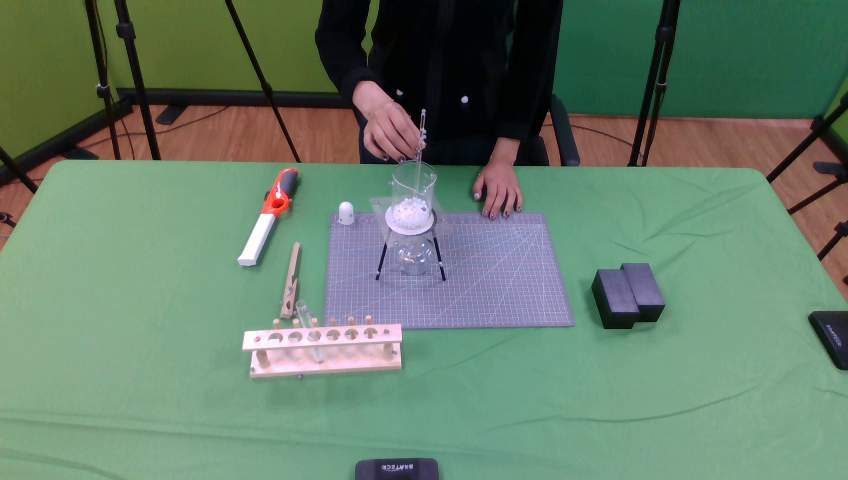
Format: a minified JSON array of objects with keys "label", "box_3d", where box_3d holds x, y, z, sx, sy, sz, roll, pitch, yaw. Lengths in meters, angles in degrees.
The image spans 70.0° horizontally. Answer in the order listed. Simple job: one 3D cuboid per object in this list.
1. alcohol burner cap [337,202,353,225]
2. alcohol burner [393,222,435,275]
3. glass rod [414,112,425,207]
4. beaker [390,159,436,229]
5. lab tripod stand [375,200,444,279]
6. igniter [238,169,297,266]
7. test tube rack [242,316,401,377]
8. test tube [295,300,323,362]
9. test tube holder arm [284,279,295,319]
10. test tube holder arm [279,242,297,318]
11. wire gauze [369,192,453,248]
[{"label":"alcohol burner cap","box_3d":[-0.161,-0.056,1.223,0.034,0.048,0.033,2,46,-2]},{"label":"alcohol burner","box_3d":[-0.018,0.009,1.123,0.078,0.119,0.077,3,47,-3]},{"label":"glass rod","box_3d":[-0.007,-0.128,1.005,0.008,0.200,0.008,3,46,-3]},{"label":"beaker","box_3d":[-0.020,-0.073,1.029,0.074,0.101,0.083,-10,48,-16]},{"label":"lab tripod stand","box_3d":[-0.023,0.004,1.114,0.148,0.132,0.147,4,45,-3]},{"label":"igniter","box_3d":[-0.313,-0.054,1.224,0.057,0.025,0.275,1,45,10]},{"label":"test tube rack","box_3d":[-0.160,0.166,0.983,0.242,0.085,0.066,-2,46,-6]},{"label":"test tube","box_3d":[-0.176,0.143,0.935,0.017,0.151,0.017,-2,46,2]},{"label":"test tube holder arm","box_3d":[-0.241,0.103,1.085,0.010,0.015,0.087,26,38,-26]},{"label":"test tube holder arm","box_3d":[-0.248,0.069,1.114,0.013,0.015,0.177,25,38,-27]},{"label":"wire gauze","box_3d":[-0.025,-0.041,1.065,0.122,0.011,0.124,-10,46,-18]}]
